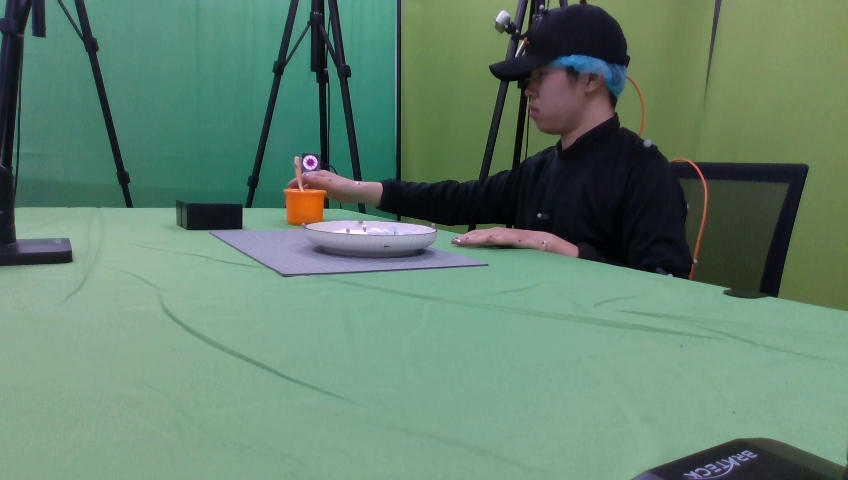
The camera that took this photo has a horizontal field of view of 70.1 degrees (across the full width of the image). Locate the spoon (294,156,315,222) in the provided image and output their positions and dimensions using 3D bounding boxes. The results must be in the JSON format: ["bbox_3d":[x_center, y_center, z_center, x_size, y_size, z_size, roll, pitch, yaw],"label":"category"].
[{"bbox_3d":[-0.271,-0.116,1.328,0.042,0.021,0.193,-2,48,-21],"label":"spoon"}]

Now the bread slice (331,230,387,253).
[{"bbox_3d":[-0.088,0.000,0.947,0.105,0.019,0.131,-4,11,-44],"label":"bread slice"}]

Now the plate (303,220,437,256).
[{"bbox_3d":[-0.084,-0.003,0.951,0.209,0.038,0.209,3,7,0],"label":"plate"}]
